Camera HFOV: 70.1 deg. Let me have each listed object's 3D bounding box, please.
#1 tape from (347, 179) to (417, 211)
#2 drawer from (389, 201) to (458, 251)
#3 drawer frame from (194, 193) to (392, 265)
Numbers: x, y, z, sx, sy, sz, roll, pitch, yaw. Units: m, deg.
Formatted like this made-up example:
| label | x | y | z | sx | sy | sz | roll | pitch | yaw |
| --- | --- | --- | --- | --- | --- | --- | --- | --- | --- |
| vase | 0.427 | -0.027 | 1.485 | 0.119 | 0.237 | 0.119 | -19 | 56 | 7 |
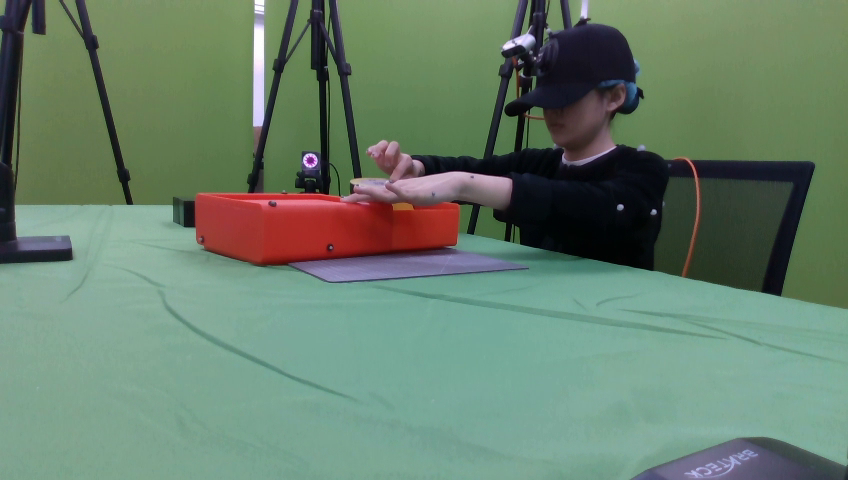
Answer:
| label | x | y | z | sx | sy | sz | roll | pitch | yaw |
| --- | --- | --- | --- | --- | --- | --- | --- | --- | --- |
| tape | -0.072 | -0.066 | 0.998 | 0.117 | 0.052 | 0.117 | 4 | 14 | -1 |
| drawer | -0.085 | -0.028 | 0.979 | 0.213 | 0.073 | 0.193 | -4 | 11 | -42 |
| drawer frame | -0.190 | -0.024 | 0.882 | 0.215 | 0.082 | 0.200 | -5 | 11 | -44 |
